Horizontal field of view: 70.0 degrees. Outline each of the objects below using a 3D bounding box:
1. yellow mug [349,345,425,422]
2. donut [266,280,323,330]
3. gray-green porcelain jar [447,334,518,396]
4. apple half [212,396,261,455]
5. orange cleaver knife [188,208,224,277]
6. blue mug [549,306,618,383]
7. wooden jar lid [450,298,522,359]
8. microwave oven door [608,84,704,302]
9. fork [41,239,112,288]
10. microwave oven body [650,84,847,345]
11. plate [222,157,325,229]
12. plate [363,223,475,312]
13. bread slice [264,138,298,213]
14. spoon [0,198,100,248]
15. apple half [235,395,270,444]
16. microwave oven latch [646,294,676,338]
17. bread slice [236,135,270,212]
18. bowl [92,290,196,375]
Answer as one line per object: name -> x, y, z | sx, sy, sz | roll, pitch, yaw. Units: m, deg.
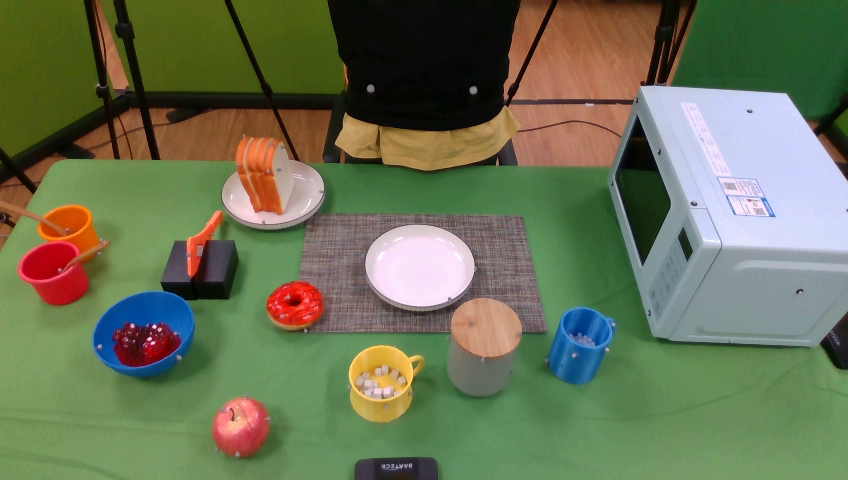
yellow mug -> -0.054, 0.217, 0.954 | 0.131, 0.064, 0.099 | -24, 52, -25
donut -> -0.223, 0.113, 1.051 | 0.099, 0.048, 0.098 | 2, 46, -1
gray-green porcelain jar -> 0.091, 0.178, 0.960 | 0.106, 0.127, 0.105 | 2, 46, -2
apple half -> -0.276, 0.276, 0.877 | 0.053, 0.075, 0.080 | -29, 58, -21
orange cleaver knife -> -0.402, 0.000, 1.123 | 0.012, 0.077, 0.210 | 2, 22, -3
blue mug -> 0.269, 0.167, 0.997 | 0.116, 0.106, 0.082 | -19, 51, -21
wooden jar lid -> 0.093, 0.135, 0.914 | 0.108, 0.021, 0.107 | 2, 49, -3
microwave oven door -> 0.424, -0.096, 1.138 | 0.039, 0.245, 0.353 | 3, 46, -1
fork -> -0.591, 0.040, 1.028 | 0.207, 0.019, 0.028 | -27, 36, 29
microwave oven body -> 0.568, -0.054, 1.116 | 0.326, 0.261, 0.439 | 2, 46, -1
plate -> -0.307, -0.094, 1.251 | 0.209, 0.038, 0.208 | 2, 46, -2
plate -> -0.009, 0.054, 1.126 | 0.208, 0.039, 0.206 | 2, 46, -2
bread slice -> -0.286, -0.135, 1.214 | 0.019, 0.132, 0.104 | 1, 45, 9
spoon -> -0.684, -0.035, 1.092 | 0.021, 0.195, 0.041 | -32, 42, 28
apple half -> -0.245, 0.260, 0.893 | 0.033, 0.082, 0.081 | -29, 55, -22
microwave oven latch -> 0.412, 0.133, 1.060 | 0.030, 0.029, 0.078 | 3, 46, 0
bread slice -> -0.340, -0.142, 1.218 | 0.018, 0.135, 0.106 | -3, 44, 7
bowl -> -0.436, 0.161, 0.971 | 0.151, 0.077, 0.150 | 2, 46, -2
